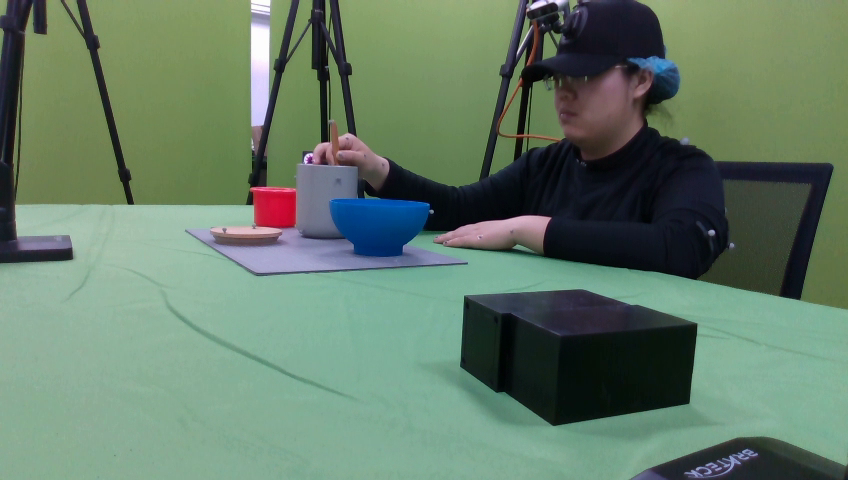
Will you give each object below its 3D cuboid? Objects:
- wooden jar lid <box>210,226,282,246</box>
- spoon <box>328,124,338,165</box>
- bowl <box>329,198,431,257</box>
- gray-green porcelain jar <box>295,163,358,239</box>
[{"bbox_3d":[-0.279,-0.006,0.951,0.108,0.020,0.108,2,8,0],"label":"wooden jar lid"},{"bbox_3d":[-0.156,-0.104,1.052,0.021,0.193,0.042,19,24,41],"label":"spoon"},{"bbox_3d":[-0.067,-0.019,0.894,0.151,0.077,0.151,3,7,0],"label":"bowl"},{"bbox_3d":[-0.170,-0.069,1.054,0.106,0.126,0.106,3,7,0],"label":"gray-green porcelain jar"}]
